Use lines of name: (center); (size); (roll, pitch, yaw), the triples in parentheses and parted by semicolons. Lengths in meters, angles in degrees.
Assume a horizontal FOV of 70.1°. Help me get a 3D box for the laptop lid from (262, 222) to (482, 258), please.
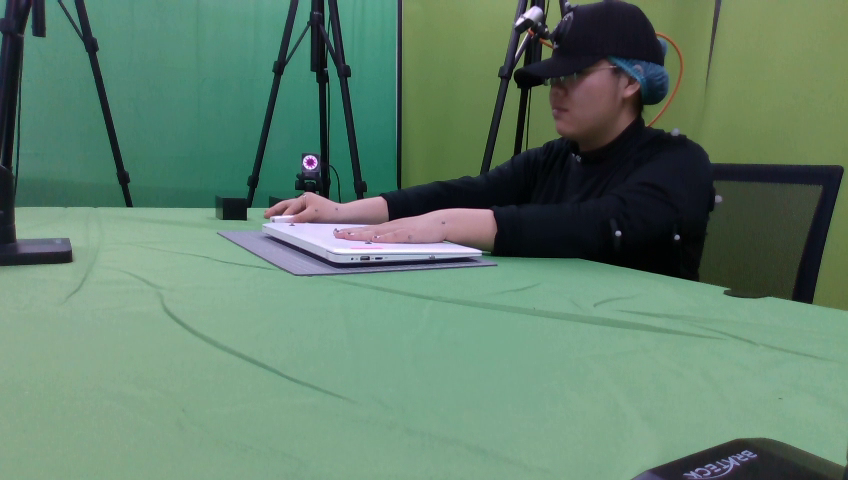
laptop lid: (-0.098, -0.003, 0.965); (0.243, 0.013, 0.355); (2, 7, -29)

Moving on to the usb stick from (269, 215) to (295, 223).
usb stick: (-0.269, -0.031, 1.121); (0.059, 0.027, 0.021); (-13, 20, -40)

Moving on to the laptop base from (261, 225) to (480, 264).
laptop base: (-0.101, 0.007, 0.965); (0.237, 0.023, 0.352); (2, 6, -31)
